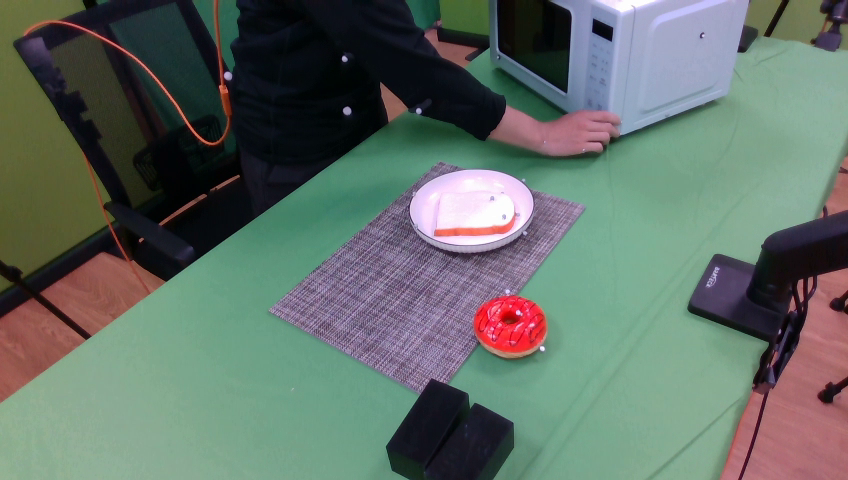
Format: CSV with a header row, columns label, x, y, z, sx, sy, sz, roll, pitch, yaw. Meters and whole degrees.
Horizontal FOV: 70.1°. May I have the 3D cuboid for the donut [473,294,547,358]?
label,x,y,z,sx,sy,sz,roll,pitch,yaw
donut,0.114,0.114,0.803,0.099,0.048,0.098,0,40,1

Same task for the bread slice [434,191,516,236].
label,x,y,z,sx,sy,sz,roll,pitch,yaw
bread slice,0.086,-0.046,0.996,0.131,0.019,0.104,-1,42,7

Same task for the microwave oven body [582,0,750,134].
label,x,y,z,sx,sy,sz,roll,pitch,yaw
microwave oven body,0.382,-0.445,1.246,0.327,0.261,0.437,-22,42,-16

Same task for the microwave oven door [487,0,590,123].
label,x,y,z,sx,sy,sz,roll,pitch,yaw
microwave oven door,0.232,-0.420,1.231,0.039,0.245,0.352,-22,42,-16

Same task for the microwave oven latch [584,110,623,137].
label,x,y,z,sx,sy,sz,roll,pitch,yaw
microwave oven latch,0.337,-0.223,1.142,0.030,0.029,0.078,-21,42,-15

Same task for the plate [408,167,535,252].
label,x,y,z,sx,sy,sz,roll,pitch,yaw
plate,0.078,-0.047,0.997,0.207,0.039,0.206,-4,41,4
